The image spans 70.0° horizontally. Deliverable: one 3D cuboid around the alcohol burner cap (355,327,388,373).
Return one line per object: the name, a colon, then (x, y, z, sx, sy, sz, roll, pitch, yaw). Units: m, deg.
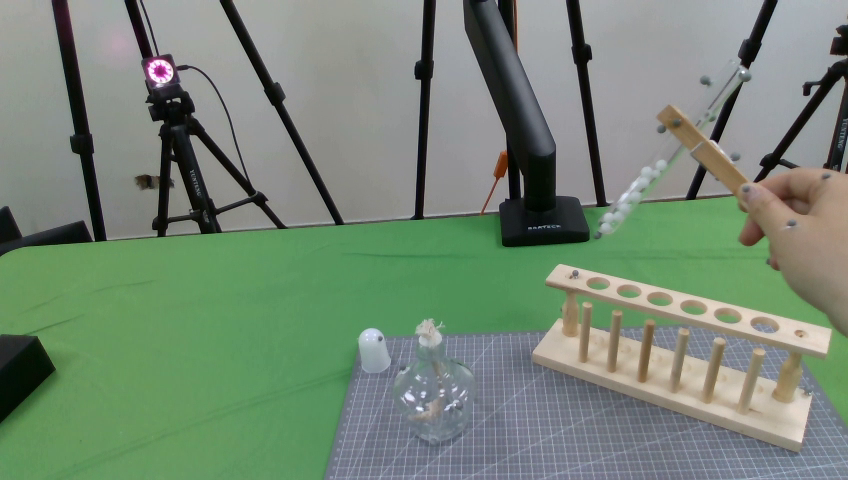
alcohol burner cap: (-0.057, 0.113, 0.643, 0.034, 0.048, 0.033, -4, 32, 3)

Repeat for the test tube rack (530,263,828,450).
test tube rack: (0.222, 0.099, 0.564, 0.240, 0.086, 0.066, 14, 37, 32)

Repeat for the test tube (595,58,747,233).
test tube: (0.174, -0.063, 0.440, 0.017, 0.150, 0.017, 26, 28, -15)

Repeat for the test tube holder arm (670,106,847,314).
test tube holder arm: (0.222, -0.026, 0.411, 0.013, 0.015, 0.177, -6, 55, -51)

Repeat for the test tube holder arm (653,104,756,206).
test tube holder arm: (0.194, -0.060, 0.421, 0.087, 0.015, 0.010, 52, 32, 15)

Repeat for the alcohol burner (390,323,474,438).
alcohol burner: (0.006, 0.121, 0.545, 0.078, 0.120, 0.077, -4, 32, 3)
